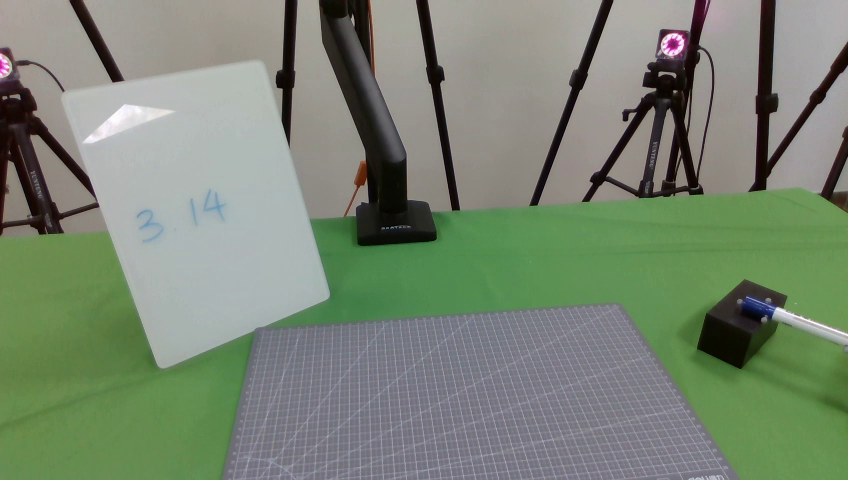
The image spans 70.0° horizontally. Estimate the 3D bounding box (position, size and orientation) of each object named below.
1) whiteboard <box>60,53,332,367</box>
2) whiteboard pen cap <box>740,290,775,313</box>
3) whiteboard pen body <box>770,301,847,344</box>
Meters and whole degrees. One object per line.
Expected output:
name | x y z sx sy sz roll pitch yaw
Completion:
whiteboard | -0.274 -0.045 0.733 0.218 0.307 0.143 -23 17 -33
whiteboard pen cap | 0.364 0.068 0.659 0.033 0.018 0.018 26 39 33
whiteboard pen body | 0.407 0.087 0.625 0.139 0.017 0.017 25 38 36
